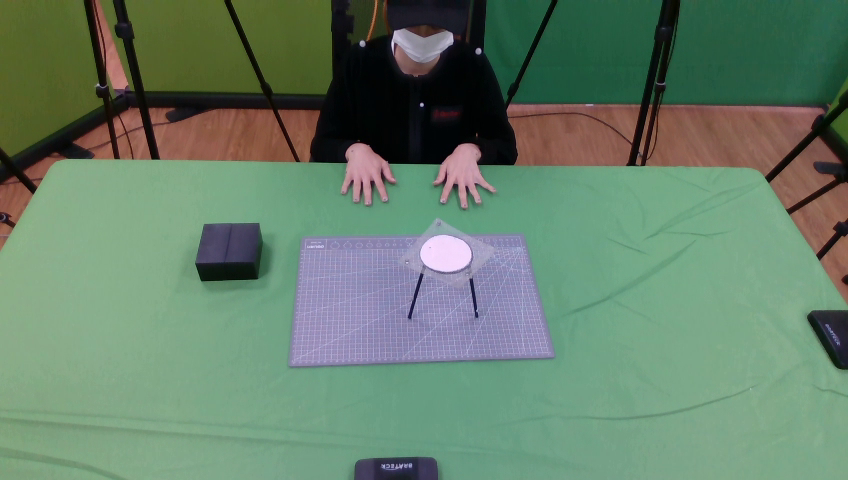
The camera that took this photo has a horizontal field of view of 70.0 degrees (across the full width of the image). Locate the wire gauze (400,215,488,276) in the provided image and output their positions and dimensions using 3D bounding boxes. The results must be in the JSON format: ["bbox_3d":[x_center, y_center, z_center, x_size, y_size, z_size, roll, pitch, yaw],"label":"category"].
[{"bbox_3d":[0.035,0.004,1.000,0.125,0.011,0.121,7,49,13],"label":"wire gauze"}]

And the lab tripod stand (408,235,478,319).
[{"bbox_3d":[0.032,0.065,1.057,0.148,0.132,0.147,1,45,-1],"label":"lab tripod stand"}]
